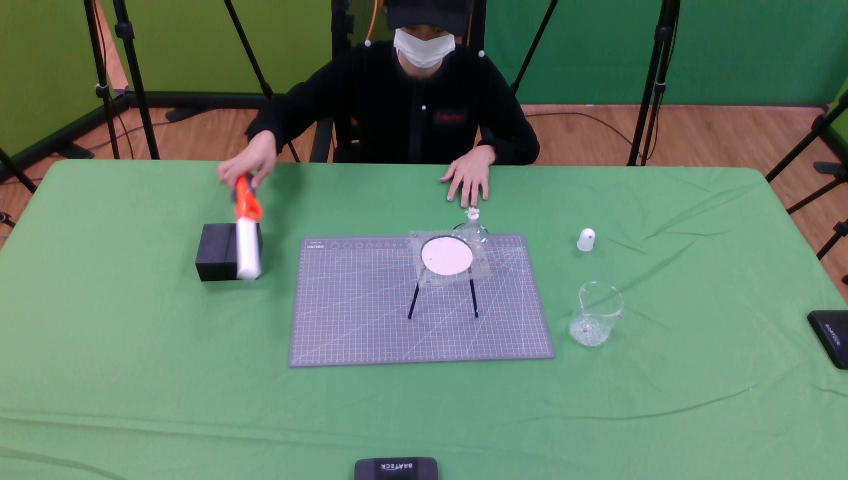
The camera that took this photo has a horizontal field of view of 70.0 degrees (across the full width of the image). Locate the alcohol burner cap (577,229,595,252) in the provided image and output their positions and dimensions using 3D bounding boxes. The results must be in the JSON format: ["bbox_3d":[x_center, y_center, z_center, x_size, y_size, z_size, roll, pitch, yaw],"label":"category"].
[{"bbox_3d":[0.326,-0.002,1.213,0.034,0.048,0.033,1,47,-1],"label":"alcohol burner cap"}]

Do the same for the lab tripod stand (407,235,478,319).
[{"bbox_3d":[0.032,0.065,1.057,0.148,0.132,0.147,1,45,-1],"label":"lab tripod stand"}]

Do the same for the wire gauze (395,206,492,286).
[{"bbox_3d":[0.031,0.010,0.993,0.125,0.011,0.120,-24,57,-17],"label":"wire gauze"}]

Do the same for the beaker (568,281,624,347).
[{"bbox_3d":[0.290,0.132,1.041,0.084,0.101,0.073,-34,57,-31],"label":"beaker"}]

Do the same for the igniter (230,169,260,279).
[{"bbox_3d":[-0.321,-0.038,1.091,0.057,0.025,0.274,24,34,-36],"label":"igniter"}]

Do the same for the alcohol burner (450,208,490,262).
[{"bbox_3d":[0.088,-0.015,1.153,0.078,0.120,0.077,1,47,-1],"label":"alcohol burner"}]
